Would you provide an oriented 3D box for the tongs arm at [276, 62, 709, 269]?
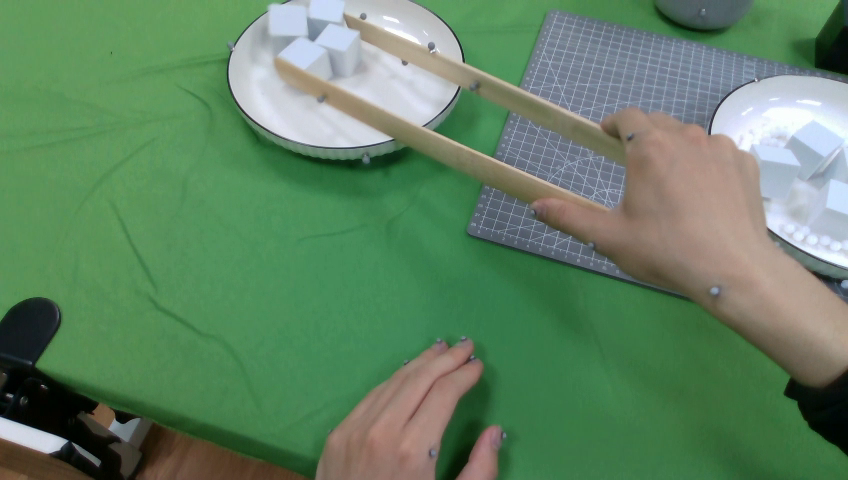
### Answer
[{"bbox_3d":[0.016,-0.069,0.452,0.384,0.028,0.028,30,56,30],"label":"tongs arm"}]

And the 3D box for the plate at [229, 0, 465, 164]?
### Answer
[{"bbox_3d":[-0.067,-0.144,0.551,0.208,0.039,0.205,1,56,-1],"label":"plate"}]

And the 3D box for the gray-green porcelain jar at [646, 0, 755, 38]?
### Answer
[{"bbox_3d":[0.286,-0.276,0.598,0.106,0.127,0.105,1,56,-1],"label":"gray-green porcelain jar"}]

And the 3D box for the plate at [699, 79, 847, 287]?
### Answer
[{"bbox_3d":[0.328,-0.047,0.496,0.209,0.038,0.207,1,56,-1],"label":"plate"}]

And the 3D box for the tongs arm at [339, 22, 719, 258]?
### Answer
[{"bbox_3d":[0.047,-0.097,0.470,0.381,0.027,0.050,32,61,31],"label":"tongs arm"}]
